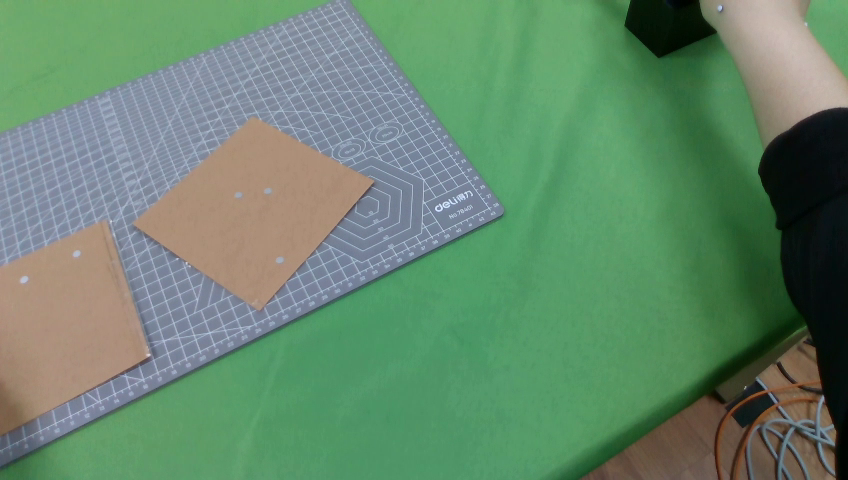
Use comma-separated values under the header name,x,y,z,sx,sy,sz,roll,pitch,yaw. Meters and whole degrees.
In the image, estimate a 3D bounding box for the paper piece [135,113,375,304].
name,x,y,z,sx,sy,sz,roll,pitch,yaw
paper piece,-0.131,-0.032,0.474,0.135,0.004,0.135,30,66,20

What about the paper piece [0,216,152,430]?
name,x,y,z,sx,sy,sz,roll,pitch,yaw
paper piece,-0.275,0.058,0.431,0.138,0.009,0.134,-28,57,-10

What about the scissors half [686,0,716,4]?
name,x,y,z,sx,sy,sz,roll,pitch,yaw
scissors half,0.189,-0.256,0.511,0.040,0.013,0.173,-19,61,-7
